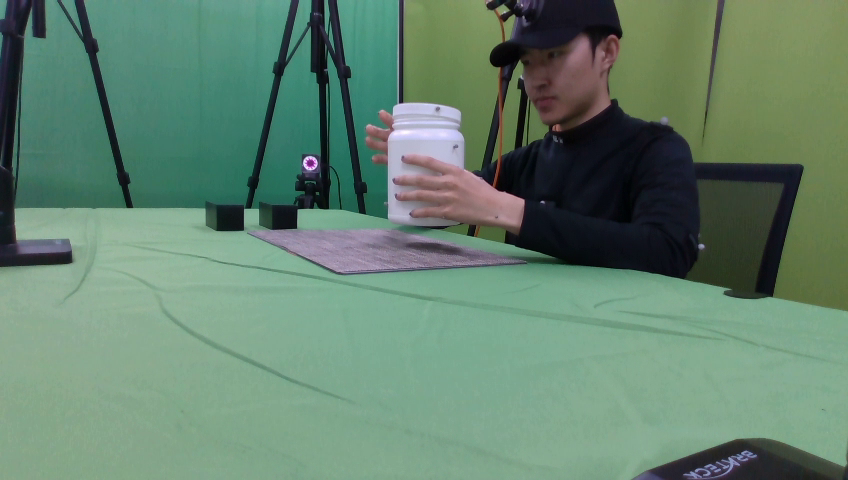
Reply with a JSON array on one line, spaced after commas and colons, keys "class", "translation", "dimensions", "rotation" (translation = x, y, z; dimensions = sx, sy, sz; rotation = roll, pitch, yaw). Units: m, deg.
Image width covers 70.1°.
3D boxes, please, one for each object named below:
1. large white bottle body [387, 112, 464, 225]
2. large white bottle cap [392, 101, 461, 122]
[{"class": "large white bottle body", "translation": [0.003, -0.122, 1.018], "dimensions": [0.131, 0.184, 0.130], "rotation": [0, 7, 0]}, {"class": "large white bottle cap", "translation": [0.005, -0.211, 1.008], "dimensions": [0.115, 0.018, 0.115], "rotation": [4, 2, 0]}]
